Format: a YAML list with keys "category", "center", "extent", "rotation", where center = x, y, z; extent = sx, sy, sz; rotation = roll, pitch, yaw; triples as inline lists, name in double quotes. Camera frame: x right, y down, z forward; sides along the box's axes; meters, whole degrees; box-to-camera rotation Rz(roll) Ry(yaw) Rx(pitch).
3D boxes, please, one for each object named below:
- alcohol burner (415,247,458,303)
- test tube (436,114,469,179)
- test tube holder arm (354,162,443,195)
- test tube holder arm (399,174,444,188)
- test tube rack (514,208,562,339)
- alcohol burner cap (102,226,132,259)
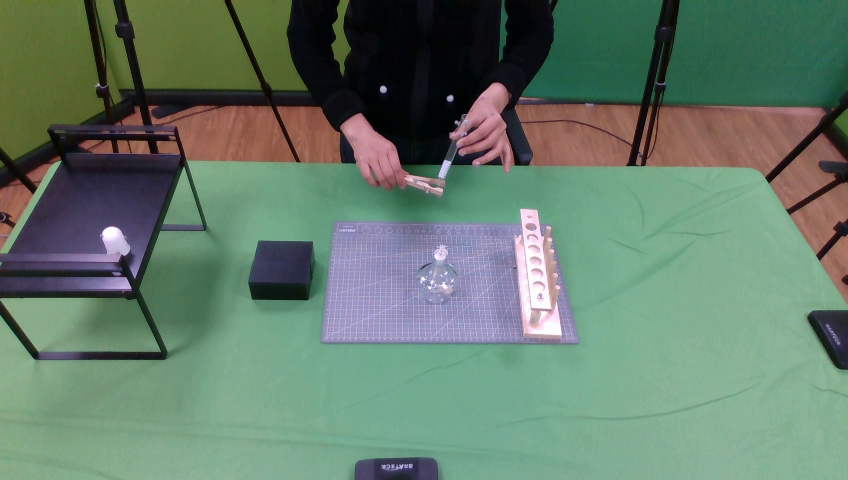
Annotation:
- category: "alcohol burner"
  center: [0.024, 0.057, 1.078]
  extent: [0.078, 0.119, 0.077]
  rotation: [3, 44, -3]
- category: "test tube"
  center: [0.049, -0.164, 1.083]
  extent: [0.017, 0.151, 0.017]
  rotation: [10, 49, -12]
- category: "test tube holder arm"
  center: [-0.050, -0.119, 1.160]
  extent: [0.178, 0.015, 0.013]
  rotation: [16, 49, 5]
- category: "test tube holder arm"
  center: [-0.005, -0.113, 1.162]
  extent: [0.088, 0.015, 0.010]
  rotation: [8, 50, -2]
- category: "test tube rack"
  center: [0.212, 0.056, 1.113]
  extent: [0.067, 0.085, 0.241]
  rotation: [3, 46, -1]
- category: "alcohol burner cap"
  center: [-0.457, 0.001, 0.897]
  extent: [0.034, 0.048, 0.033]
  rotation: [2, 46, -2]
